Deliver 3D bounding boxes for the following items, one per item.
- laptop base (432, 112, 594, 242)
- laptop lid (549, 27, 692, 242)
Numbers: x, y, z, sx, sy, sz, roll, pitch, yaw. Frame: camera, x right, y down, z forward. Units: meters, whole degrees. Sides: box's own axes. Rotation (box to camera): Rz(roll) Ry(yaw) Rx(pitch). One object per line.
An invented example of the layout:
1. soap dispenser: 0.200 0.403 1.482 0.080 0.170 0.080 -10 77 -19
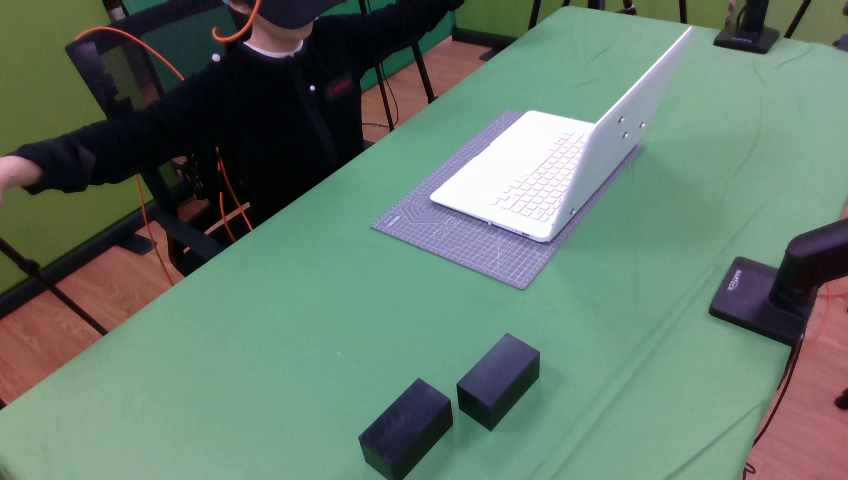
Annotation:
1. laptop base: 0.208 -0.129 1.098 0.233 0.023 0.355 20 47 34
2. laptop lid: 0.311 -0.167 0.948 0.013 0.242 0.358 33 52 20
